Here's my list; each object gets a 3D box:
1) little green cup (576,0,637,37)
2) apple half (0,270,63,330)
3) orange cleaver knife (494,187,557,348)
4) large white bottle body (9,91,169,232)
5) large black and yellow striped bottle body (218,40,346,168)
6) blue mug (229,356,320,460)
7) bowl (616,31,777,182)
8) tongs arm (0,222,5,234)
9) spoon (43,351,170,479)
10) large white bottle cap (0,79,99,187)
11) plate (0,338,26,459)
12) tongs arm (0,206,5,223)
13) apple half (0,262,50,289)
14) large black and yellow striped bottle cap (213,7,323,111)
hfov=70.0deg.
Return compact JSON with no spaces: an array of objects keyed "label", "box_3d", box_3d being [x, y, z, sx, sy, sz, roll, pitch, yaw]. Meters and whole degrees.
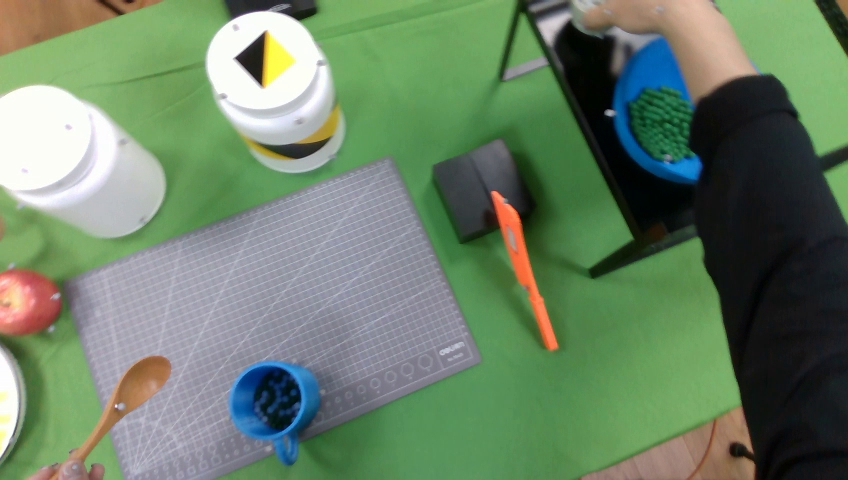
[{"label":"little green cup","box_3d":[0.189,-0.246,0.635,0.061,0.039,0.061,-1,74,4]},{"label":"apple half","box_3d":[-0.473,0.079,0.726,0.081,0.075,0.053,-36,85,-12]},{"label":"orange cleaver knife","box_3d":[0.124,0.035,0.748,0.012,0.076,0.213,-22,111,-7]},{"label":"large white bottle body","box_3d":[-0.397,-0.092,0.708,0.131,0.185,0.130,0,77,-1]},{"label":"large black and yellow striped bottle body","box_3d":[-0.168,-0.175,0.733,0.131,0.184,0.130,0,77,-1]},{"label":"blue mug","box_3d":[-0.164,0.192,0.693,0.082,0.106,0.116,-14,79,-5]},{"label":"bowl","box_3d":[0.258,-0.121,0.607,0.151,0.077,0.150,0,78,-1]},{"label":"tongs arm","box_3d":[-0.703,-0.019,0.724,0.385,0.026,0.050,6,74,1]},{"label":"spoon","box_3d":[-0.271,0.162,0.479,0.021,0.042,0.192,9,39,18]},{"label":"large white bottle cap","box_3d":[-0.396,-0.111,0.624,0.115,0.018,0.114,0,78,-1]},{"label":"plate","box_3d":[-0.574,0.195,0.716,0.209,0.038,0.208,0,79,-2]},{"label":"tongs arm","box_3d":[-0.687,-0.099,0.743,0.387,0.028,0.028,19,71,4]},{"label":"apple half","box_3d":[-0.496,0.048,0.731,0.081,0.081,0.033,-36,86,-8]},{"label":"large black and yellow striped bottle cap","box_3d":[-0.167,-0.196,0.652,0.115,0.019,0.114,1,79,-3]}]
